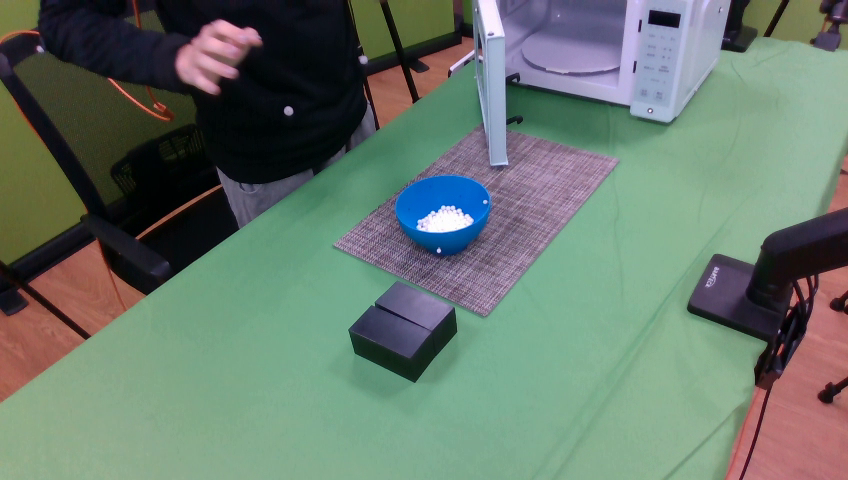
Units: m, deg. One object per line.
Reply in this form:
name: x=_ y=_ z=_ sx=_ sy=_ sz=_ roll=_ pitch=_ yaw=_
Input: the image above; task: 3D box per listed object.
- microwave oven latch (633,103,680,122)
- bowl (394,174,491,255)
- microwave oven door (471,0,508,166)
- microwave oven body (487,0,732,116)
microwave oven latch: x=0.444 y=-0.249 z=1.156 sx=0.078 sy=0.029 sz=0.030 roll=21 pitch=48 yaw=30
bowl: x=0.032 y=-0.030 z=0.949 sx=0.151 sy=0.077 sz=0.150 roll=-4 pitch=40 yaw=4
microwave oven door: x=0.122 y=-0.340 z=1.153 sx=0.039 sy=0.245 sz=0.354 roll=-5 pitch=40 yaw=3
microwave oven body: x=0.377 y=-0.462 z=1.266 sx=0.438 sy=0.261 sz=0.327 roll=21 pitch=48 yaw=30
